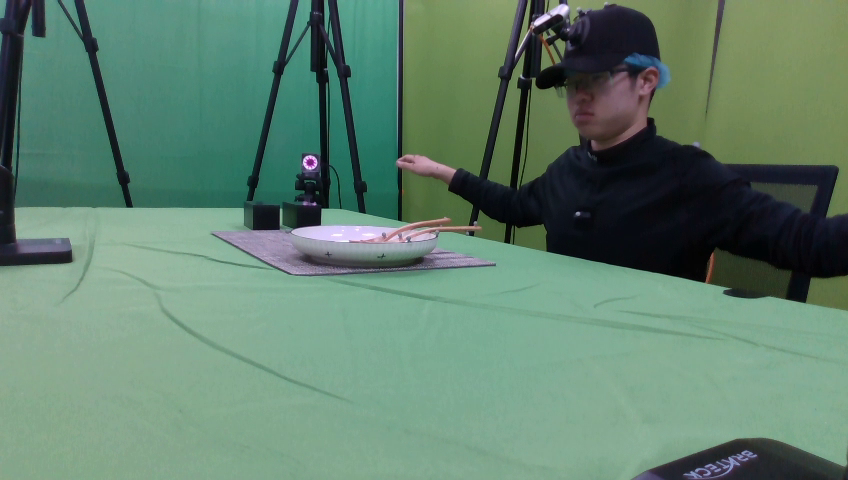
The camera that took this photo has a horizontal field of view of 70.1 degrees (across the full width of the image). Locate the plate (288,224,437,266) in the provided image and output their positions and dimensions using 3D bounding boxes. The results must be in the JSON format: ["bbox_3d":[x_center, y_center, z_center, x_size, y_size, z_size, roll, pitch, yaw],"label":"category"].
[{"bbox_3d":[-0.086,0.007,0.852,0.208,0.039,0.207,2,7,0],"label":"plate"}]

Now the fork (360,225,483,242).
[{"bbox_3d":[0.002,-0.009,0.893,0.208,0.018,0.028,-11,10,-30],"label":"fork"}]

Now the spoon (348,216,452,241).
[{"bbox_3d":[-0.030,-0.015,0.923,0.195,0.021,0.041,-19,15,-36],"label":"spoon"}]
